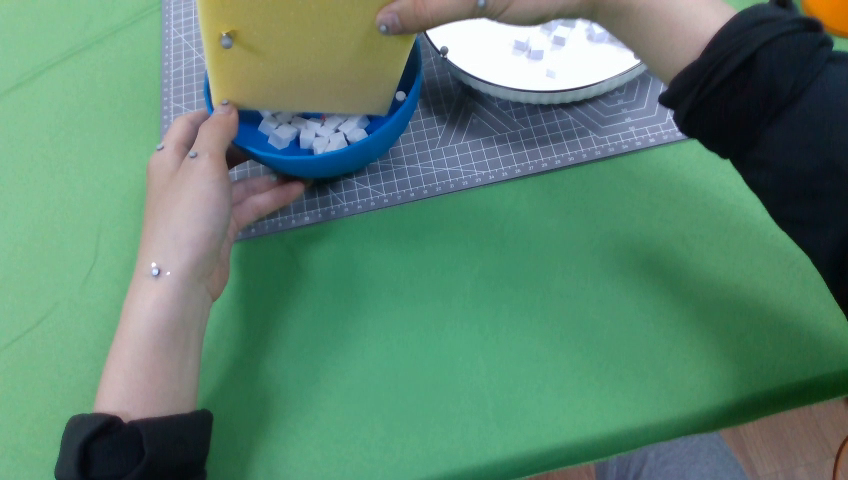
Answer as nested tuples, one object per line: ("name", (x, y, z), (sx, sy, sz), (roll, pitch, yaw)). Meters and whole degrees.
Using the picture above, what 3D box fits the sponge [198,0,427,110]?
("sponge", (-0.061, -0.148, 0.328), (0.118, 0.207, 0.060), (-4, 74, -14))

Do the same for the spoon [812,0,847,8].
("spoon", (0.367, -0.233, 0.416), (0.022, 0.194, 0.041), (3, 60, -42))

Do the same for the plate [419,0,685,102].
("plate", (0.097, -0.192, 0.487), (0.209, 0.038, 0.207), (-3, 65, 6))

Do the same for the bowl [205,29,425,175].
("bowl", (-0.070, -0.102, 0.442), (0.151, 0.077, 0.150), (-2, 65, 5))
